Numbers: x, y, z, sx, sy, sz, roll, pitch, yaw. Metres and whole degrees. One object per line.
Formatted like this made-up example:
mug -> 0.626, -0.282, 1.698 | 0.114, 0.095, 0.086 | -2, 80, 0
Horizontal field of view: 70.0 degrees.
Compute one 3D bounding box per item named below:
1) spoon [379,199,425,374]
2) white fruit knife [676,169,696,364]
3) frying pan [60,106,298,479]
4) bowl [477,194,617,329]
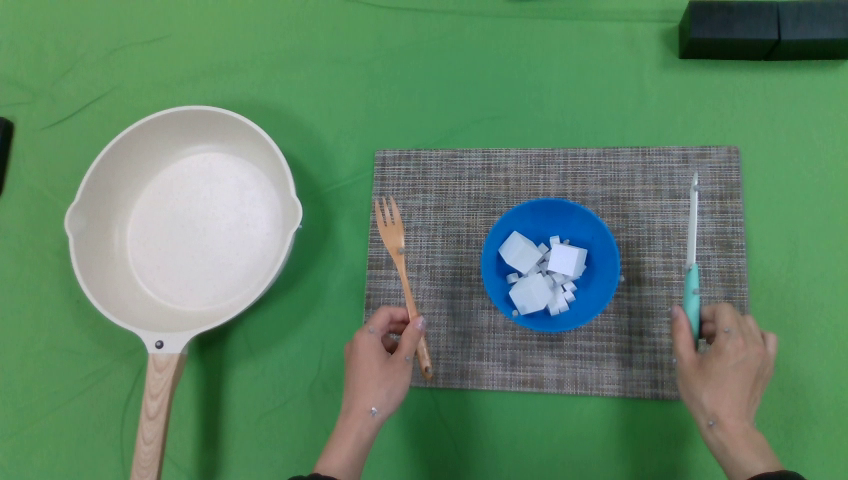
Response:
spoon -> -0.020, 0.051, 0.668 | 0.041, 0.022, 0.193 | -7, 81, -4
white fruit knife -> 0.275, 0.029, 0.635 | 0.016, 0.027, 0.207 | 1, 90, 1
frying pan -> -0.302, 0.075, 0.730 | 0.306, 0.103, 0.484 | -1, 69, 8
bowl -> 0.138, 0.030, 0.693 | 0.151, 0.077, 0.150 | -1, 77, 7
